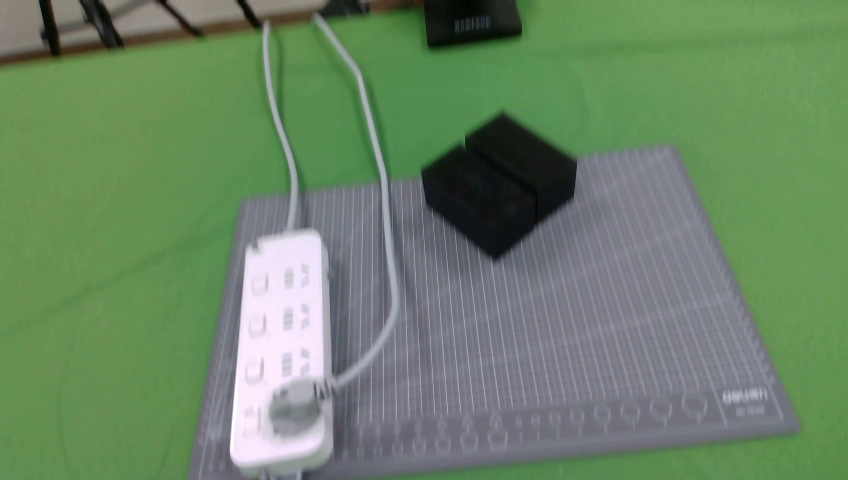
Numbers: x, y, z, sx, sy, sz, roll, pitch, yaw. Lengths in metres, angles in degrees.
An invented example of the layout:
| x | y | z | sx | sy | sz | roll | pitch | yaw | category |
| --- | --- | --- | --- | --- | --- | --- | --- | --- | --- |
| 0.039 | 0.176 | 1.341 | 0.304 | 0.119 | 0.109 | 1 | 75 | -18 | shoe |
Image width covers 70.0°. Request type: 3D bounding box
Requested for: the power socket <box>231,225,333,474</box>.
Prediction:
| x | y | z | sx | sy | sz | roll | pitch | yaw | category |
| --- | --- | --- | --- | --- | --- | --- | --- | --- | --- |
| -0.115 | 0.076 | 0.505 | 0.072 | 0.033 | 0.224 | -9 | 51 | 0 | power socket |

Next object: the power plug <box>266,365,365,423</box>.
| x | y | z | sx | sy | sz | roll | pitch | yaw | category |
| --- | --- | --- | --- | --- | --- | --- | --- | --- | --- |
| -0.079 | 0.117 | 0.444 | 0.072 | 0.053 | 0.035 | 2 | 51 | 3 | power plug |
